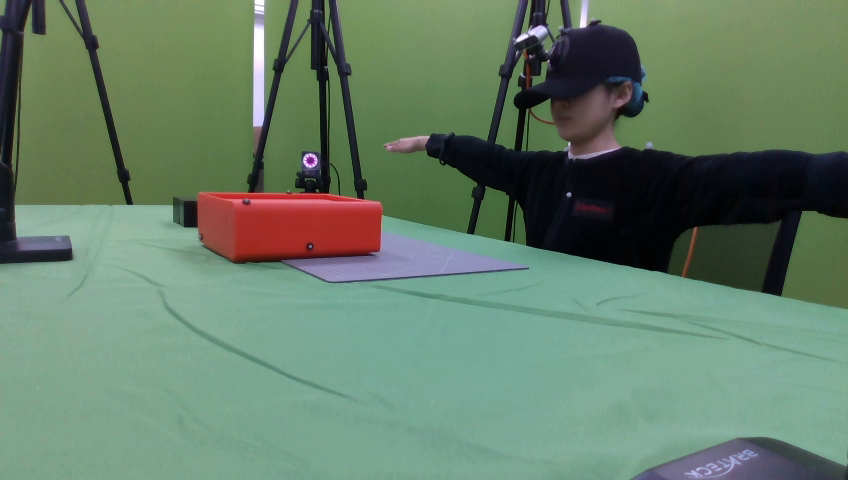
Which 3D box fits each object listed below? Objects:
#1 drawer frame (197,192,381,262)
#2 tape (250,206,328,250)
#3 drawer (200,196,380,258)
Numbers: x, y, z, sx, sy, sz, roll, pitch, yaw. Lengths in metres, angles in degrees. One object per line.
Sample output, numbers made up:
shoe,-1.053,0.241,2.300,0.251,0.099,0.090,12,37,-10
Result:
drawer frame,-0.202,-0.026,0.892,0.215,0.082,0.200,-3,10,-34
tape,-0.202,-0.019,0.902,0.117,0.052,0.117,3,8,0
drawer,-0.200,-0.024,0.894,0.213,0.073,0.193,-3,10,-33
